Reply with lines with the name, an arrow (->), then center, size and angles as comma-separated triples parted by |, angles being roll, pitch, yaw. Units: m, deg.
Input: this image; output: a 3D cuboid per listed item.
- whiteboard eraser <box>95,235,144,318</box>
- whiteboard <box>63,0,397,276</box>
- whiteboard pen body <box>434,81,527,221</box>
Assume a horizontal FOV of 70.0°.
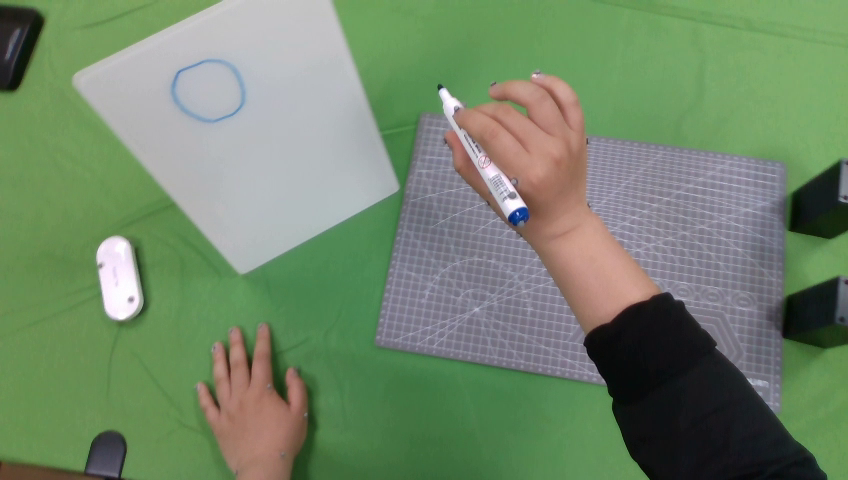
whiteboard eraser -> -0.359, 0.043, 0.712 | 0.041, 0.019, 0.100 | -18, 75, -4
whiteboard -> -0.188, -0.141, 0.644 | 0.217, 0.308, 0.142 | -29, 55, -6
whiteboard pen body -> 0.037, -0.070, 0.441 | 0.017, 0.017, 0.139 | -25, 61, -5
